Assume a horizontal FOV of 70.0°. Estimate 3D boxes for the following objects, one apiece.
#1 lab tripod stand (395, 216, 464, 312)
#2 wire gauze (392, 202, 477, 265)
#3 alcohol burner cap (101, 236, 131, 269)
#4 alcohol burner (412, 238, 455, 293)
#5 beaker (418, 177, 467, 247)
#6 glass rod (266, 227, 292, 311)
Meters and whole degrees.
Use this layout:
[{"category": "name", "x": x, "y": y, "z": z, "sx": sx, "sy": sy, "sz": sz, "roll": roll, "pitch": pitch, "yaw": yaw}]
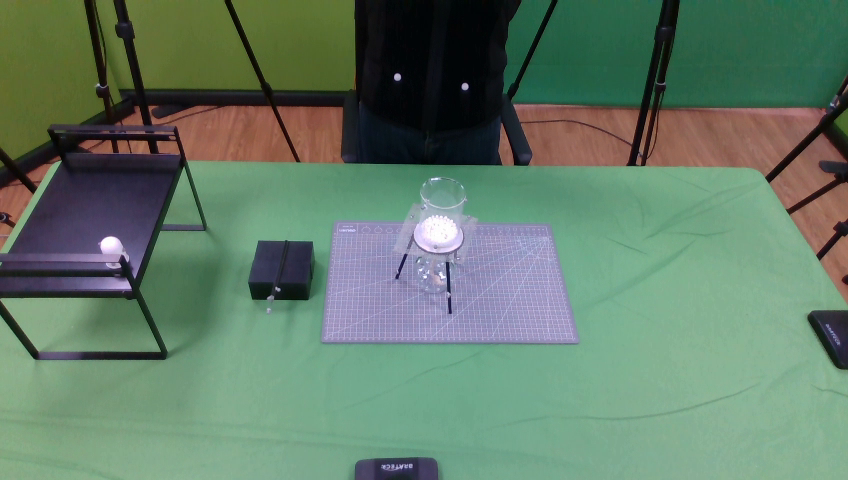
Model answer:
[{"category": "lab tripod stand", "x": 0.023, "y": 0.037, "z": 1.084, "sx": 0.148, "sy": 0.132, "sz": 0.147, "roll": 3, "pitch": 47, "yaw": -4}, {"category": "wire gauze", "x": 0.021, "y": -0.011, "z": 1.037, "sx": 0.121, "sy": 0.011, "sz": 0.124, "roll": 13, "pitch": 49, "yaw": 8}, {"category": "alcohol burner cap", "x": -0.452, "y": 0.016, "z": 0.883, "sx": 0.034, "sy": 0.048, "sz": 0.033, "roll": 2, "pitch": 47, "yaw": -1}, {"category": "alcohol burner", "x": 0.019, "y": 0.040, "z": 1.094, "sx": 0.078, "sy": 0.119, "sz": 0.077, "roll": 4, "pitch": 45, "yaw": -3}, {"category": "beaker", "x": 0.026, "y": -0.045, "z": 1.004, "sx": 0.074, "sy": 0.101, "sz": 0.083, "roll": -20, "pitch": 51, "yaw": -22}, {"category": "glass rod", "x": -0.257, "y": 0.047, "z": 1.076, "sx": 0.008, "sy": 0.008, "sz": 0.198, "roll": 3, "pitch": 46, "yaw": -1}]
